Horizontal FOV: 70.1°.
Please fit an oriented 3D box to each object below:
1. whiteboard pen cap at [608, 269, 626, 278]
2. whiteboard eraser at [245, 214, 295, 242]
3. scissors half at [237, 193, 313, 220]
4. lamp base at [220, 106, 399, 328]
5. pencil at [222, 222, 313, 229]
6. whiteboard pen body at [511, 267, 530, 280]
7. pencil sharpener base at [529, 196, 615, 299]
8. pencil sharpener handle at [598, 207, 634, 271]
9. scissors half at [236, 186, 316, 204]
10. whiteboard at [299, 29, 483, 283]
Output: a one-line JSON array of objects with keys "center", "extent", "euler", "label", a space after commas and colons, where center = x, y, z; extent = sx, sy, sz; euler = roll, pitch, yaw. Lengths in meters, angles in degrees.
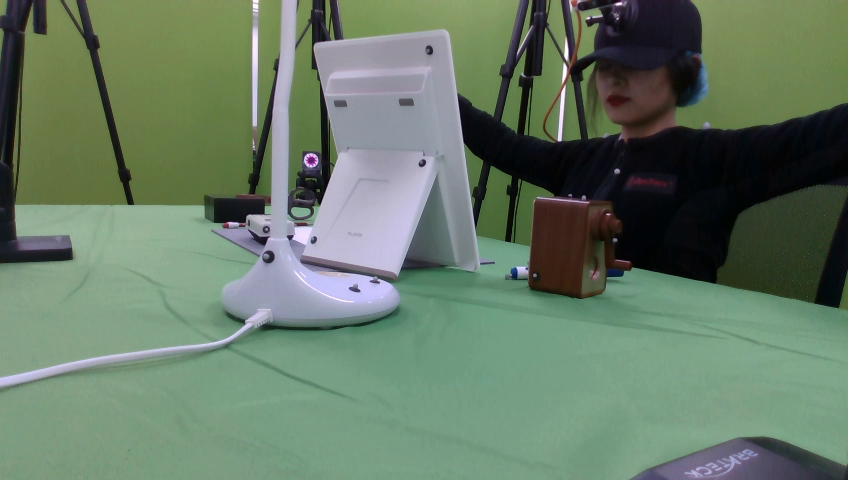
[{"center": [0.237, 0.039, 0.766], "extent": [0.033, 0.018, 0.018], "euler": [-2, 8, -8], "label": "whiteboard pen cap"}, {"center": [-0.247, -0.018, 0.965], "extent": [0.056, 0.042, 0.112], "euler": [0, 8, -28], "label": "whiteboard eraser"}, {"center": [-0.325, -0.077, 1.320], "extent": [0.176, 0.040, 0.012], "euler": [17, 9, -33], "label": "scissors half"}, {"center": [-0.101, -0.023, 0.531], "extent": [0.160, 0.180, 0.179], "euler": [4, 10, 10], "label": "lamp base"}, {"center": [-0.302, -0.030, 1.189], "extent": [0.195, 0.012, 0.012], "euler": [-2, 9, -42], "label": "pencil"}, {"center": [0.178, 0.041, 0.758], "extent": [0.141, 0.017, 0.017], "euler": [0, 8, -8], "label": "whiteboard pen body"}, {"center": [0.168, 0.007, 0.678], "extent": [0.076, 0.107, 0.062], "euler": [10, 10, 42], "label": "pencil sharpener base"}, {"center": [0.208, 0.000, 0.645], "extent": [0.030, 0.068, 0.036], "euler": [10, 23, 42], "label": "pencil sharpener handle"}, {"center": [-0.320, -0.097, 1.316], "extent": [0.176, 0.040, 0.013], "euler": [-3, 15, -30], "label": "scissors half"}, {"center": [-0.074, -0.082, 0.742], "extent": [0.216, 0.305, 0.144], "euler": [9, 29, 37], "label": "whiteboard"}]
